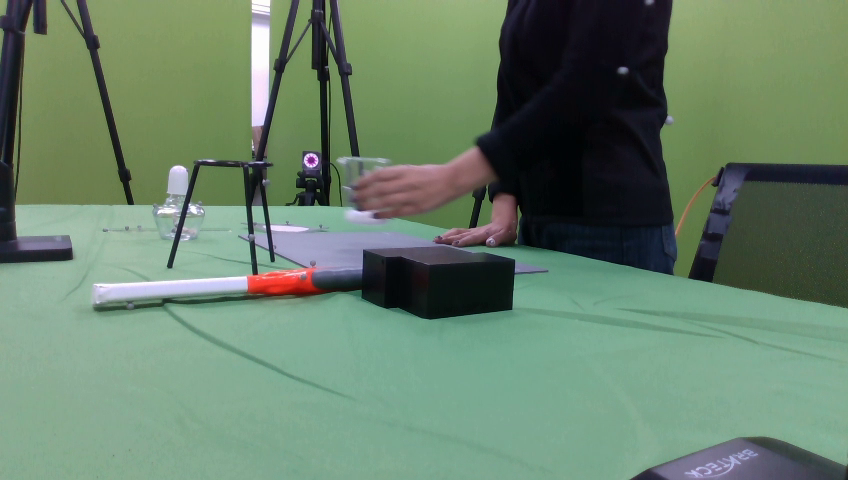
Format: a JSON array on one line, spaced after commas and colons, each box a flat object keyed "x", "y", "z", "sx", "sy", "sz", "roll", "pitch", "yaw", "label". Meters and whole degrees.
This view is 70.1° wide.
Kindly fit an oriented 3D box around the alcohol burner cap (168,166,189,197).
[{"x": -0.392, "y": -0.095, "z": 0.970, "sx": 0.034, "sy": 0.048, "sz": 0.034, "roll": 7, "pitch": 7, "yaw": -1, "label": "alcohol burner cap"}]

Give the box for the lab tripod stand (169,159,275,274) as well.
[{"x": -0.230, "y": -0.030, "z": 0.724, "sx": 0.148, "sy": 0.131, "sz": 0.148, "roll": 1, "pitch": 9, "yaw": 0, "label": "lab tripod stand"}]

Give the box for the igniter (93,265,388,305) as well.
[{"x": -0.164, "y": 0.042, "z": 0.589, "sx": 0.278, "sy": 0.025, "sz": 0.057, "roll": -2, "pitch": -6, "yaw": -31, "label": "igniter"}]

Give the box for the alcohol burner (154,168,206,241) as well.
[{"x": -0.393, "y": -0.059, "z": 0.974, "sx": 0.078, "sy": 0.119, "sz": 0.078, "roll": 1, "pitch": 8, "yaw": 0, "label": "alcohol burner"}]

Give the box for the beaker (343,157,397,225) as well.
[{"x": -0.083, "y": -0.076, "z": 0.928, "sx": 0.084, "sy": 0.100, "sz": 0.073, "roll": -4, "pitch": 10, "yaw": -27, "label": "beaker"}]

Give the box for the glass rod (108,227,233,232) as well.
[{"x": -0.437, "y": -0.019, "z": 1.054, "sx": 0.201, "sy": 0.008, "sz": 0.008, "roll": -1, "pitch": 8, "yaw": -27, "label": "glass rod"}]

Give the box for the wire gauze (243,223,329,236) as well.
[{"x": -0.266, "y": -0.024, "z": 1.156, "sx": 0.124, "sy": 0.011, "sz": 0.122, "roll": 12, "pitch": 12, "yaw": 40, "label": "wire gauze"}]
